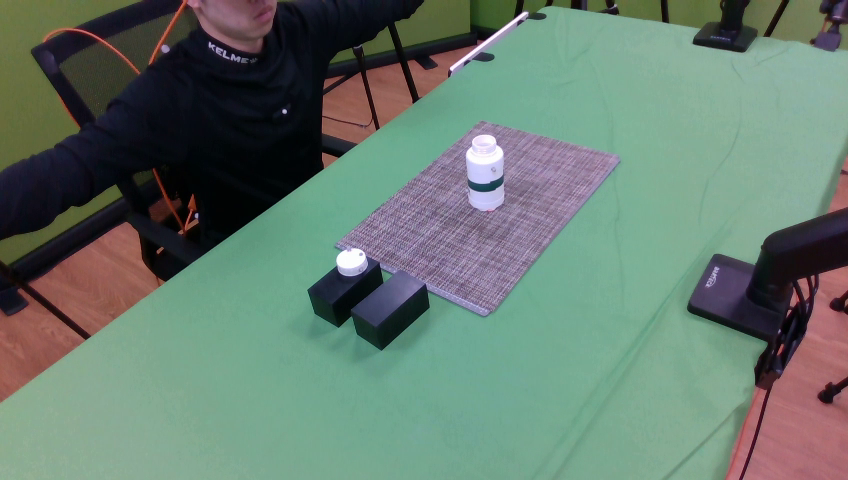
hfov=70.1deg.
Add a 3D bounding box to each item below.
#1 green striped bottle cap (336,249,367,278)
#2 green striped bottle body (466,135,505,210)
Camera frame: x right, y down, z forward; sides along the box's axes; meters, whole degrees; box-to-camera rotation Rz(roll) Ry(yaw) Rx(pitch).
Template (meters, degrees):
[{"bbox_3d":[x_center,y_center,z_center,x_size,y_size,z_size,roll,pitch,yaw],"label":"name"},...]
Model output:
[{"bbox_3d":[-0.105,0.033,0.873,0.044,0.020,0.044,-5,42,5],"label":"green striped bottle cap"},{"bbox_3d":[0.102,-0.114,1.006,0.063,0.120,0.063,-4,40,4],"label":"green striped bottle body"}]
